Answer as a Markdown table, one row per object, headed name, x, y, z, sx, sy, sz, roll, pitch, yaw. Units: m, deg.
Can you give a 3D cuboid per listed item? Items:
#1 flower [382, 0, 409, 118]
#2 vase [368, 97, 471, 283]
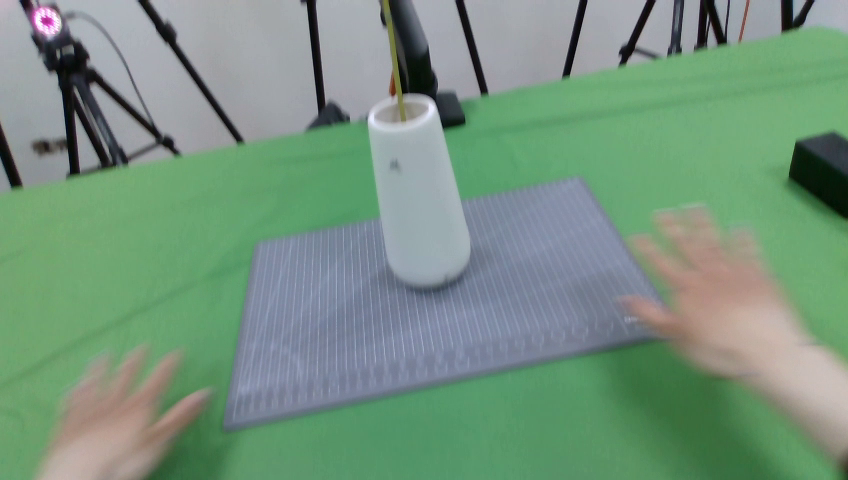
| name | x | y | z | sx | sy | sz | roll | pitch | yaw |
| --- | --- | --- | --- | --- | --- | --- | --- | --- | --- |
| flower | -0.019 | -0.124 | 0.621 | 0.038 | 0.363 | 0.043 | -22 | 20 | -32 |
| vase | -0.006 | -0.050 | 0.657 | 0.098 | 0.202 | 0.097 | -8 | 36 | 6 |
